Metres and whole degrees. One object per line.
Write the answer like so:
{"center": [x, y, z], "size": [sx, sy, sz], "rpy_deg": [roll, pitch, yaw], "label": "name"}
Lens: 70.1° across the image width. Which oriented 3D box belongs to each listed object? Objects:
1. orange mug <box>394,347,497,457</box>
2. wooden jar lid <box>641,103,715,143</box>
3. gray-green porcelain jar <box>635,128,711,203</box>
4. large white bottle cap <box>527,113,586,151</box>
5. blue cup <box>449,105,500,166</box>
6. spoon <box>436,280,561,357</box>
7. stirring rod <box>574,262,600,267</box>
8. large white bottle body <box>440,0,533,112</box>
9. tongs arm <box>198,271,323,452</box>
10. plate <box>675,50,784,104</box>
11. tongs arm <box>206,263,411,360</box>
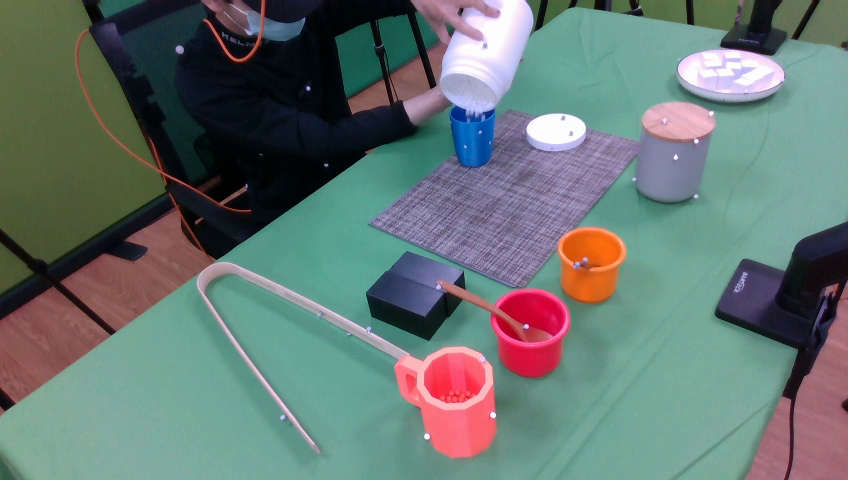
{"center": [0.024, 0.181, 0.703], "size": [0.125, 0.101, 0.083], "rpy_deg": [20, 48, 23], "label": "orange mug"}
{"center": [0.398, -0.180, 0.952], "size": [0.108, 0.021, 0.108], "rpy_deg": [-4, 43, 4], "label": "wooden jar lid"}
{"center": [0.405, -0.133, 0.992], "size": [0.106, 0.127, 0.105], "rpy_deg": [-4, 40, 4], "label": "gray-green porcelain jar"}
{"center": [0.259, -0.213, 1.184], "size": [0.115, 0.018, 0.114], "rpy_deg": [-4, 41, 4], "label": "large white bottle cap"}
{"center": [0.092, -0.194, 1.123], "size": [0.092, 0.100, 0.092], "rpy_deg": [-3, 40, 3], "label": "blue cup"}
{"center": [0.096, 0.095, 0.758], "size": [0.195, 0.021, 0.041], "rpy_deg": [34, 40, -20], "label": "spoon"}
{"center": [0.221, 0.033, 0.817], "size": [0.014, 0.006, 0.177], "rpy_deg": [8, 1, 22], "label": "stirring rod"}
{"center": [0.109, -0.336, 1.081], "size": [0.130, 0.131, 0.184], "rpy_deg": [13, 71, 23], "label": "large white bottle body"}
{"center": [-0.236, 0.152, 0.829], "size": [0.028, 0.028, 0.384], "rpy_deg": [-36, 47, -19], "label": "tongs arm"}
{"center": [0.631, -0.336, 1.262], "size": [0.207, 0.039, 0.206], "rpy_deg": [-4, 41, 4], "label": "plate"}
{"center": [-0.179, 0.106, 0.870], "size": [0.381, 0.026, 0.051], "rpy_deg": [23, 53, 32], "label": "tongs arm"}
